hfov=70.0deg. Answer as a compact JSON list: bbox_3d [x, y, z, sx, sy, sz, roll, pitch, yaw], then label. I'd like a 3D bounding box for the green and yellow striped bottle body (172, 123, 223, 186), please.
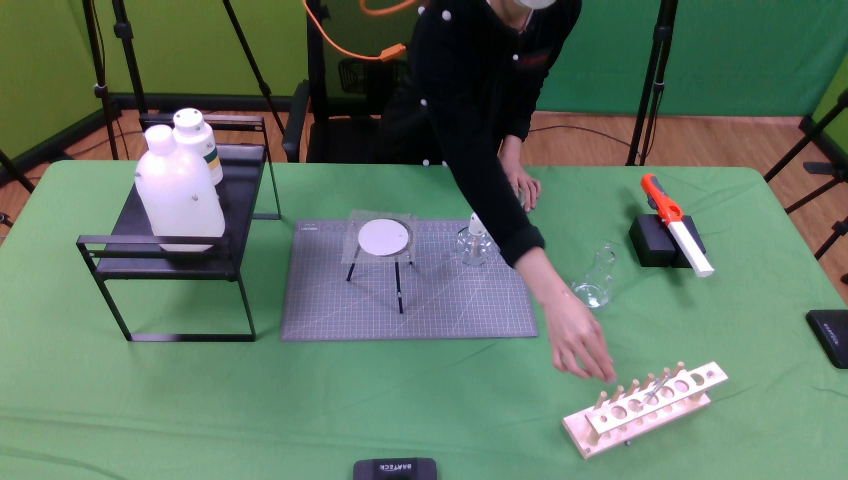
[{"bbox_3d":[-0.373,-0.148,0.994,0.063,0.120,0.063,2,46,-2],"label":"green and yellow striped bottle body"}]

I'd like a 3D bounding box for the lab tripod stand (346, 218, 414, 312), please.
[{"bbox_3d":[-0.069,0.037,1.075,0.148,0.132,0.147,1,47,-1],"label":"lab tripod stand"}]

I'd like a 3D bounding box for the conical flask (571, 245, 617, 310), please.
[{"bbox_3d":[0.313,0.064,1.089,0.075,0.122,0.075,2,46,-2],"label":"conical flask"}]

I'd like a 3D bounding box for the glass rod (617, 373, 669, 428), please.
[{"bbox_3d":[0.308,0.231,0.861,0.008,0.200,0.008,2,55,-3],"label":"glass rod"}]

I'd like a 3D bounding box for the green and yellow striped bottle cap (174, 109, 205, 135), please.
[{"bbox_3d":[-0.369,-0.186,0.954,0.045,0.020,0.045,3,49,-3],"label":"green and yellow striped bottle cap"}]

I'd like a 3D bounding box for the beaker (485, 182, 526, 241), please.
[{"bbox_3d":[0.159,-0.055,1.205,0.074,0.101,0.084,23,49,17],"label":"beaker"}]

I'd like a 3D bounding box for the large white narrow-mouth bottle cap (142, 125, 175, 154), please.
[{"bbox_3d":[-0.355,-0.134,0.811,0.038,0.024,0.037,2,47,-2],"label":"large white narrow-mouth bottle cap"}]

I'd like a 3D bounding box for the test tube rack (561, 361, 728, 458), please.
[{"bbox_3d":[0.341,0.248,0.940,0.243,0.085,0.066,-15,49,-18],"label":"test tube rack"}]

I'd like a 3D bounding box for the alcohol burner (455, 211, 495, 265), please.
[{"bbox_3d":[0.097,-0.010,1.147,0.078,0.120,0.077,1,47,0],"label":"alcohol burner"}]

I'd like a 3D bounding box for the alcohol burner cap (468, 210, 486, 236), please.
[{"bbox_3d":[0.100,-0.034,1.119,0.034,0.048,0.033,0,53,0],"label":"alcohol burner cap"}]

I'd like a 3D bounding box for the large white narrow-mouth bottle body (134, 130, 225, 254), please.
[{"bbox_3d":[-0.357,-0.076,0.875,0.102,0.195,0.101,2,47,-2],"label":"large white narrow-mouth bottle body"}]

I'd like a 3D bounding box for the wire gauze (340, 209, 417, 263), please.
[{"bbox_3d":[-0.074,-0.006,1.023,0.121,0.011,0.124,3,46,0],"label":"wire gauze"}]

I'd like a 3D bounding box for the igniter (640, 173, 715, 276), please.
[{"bbox_3d":[0.495,-0.039,1.204,0.057,0.025,0.274,-2,47,-12],"label":"igniter"}]
